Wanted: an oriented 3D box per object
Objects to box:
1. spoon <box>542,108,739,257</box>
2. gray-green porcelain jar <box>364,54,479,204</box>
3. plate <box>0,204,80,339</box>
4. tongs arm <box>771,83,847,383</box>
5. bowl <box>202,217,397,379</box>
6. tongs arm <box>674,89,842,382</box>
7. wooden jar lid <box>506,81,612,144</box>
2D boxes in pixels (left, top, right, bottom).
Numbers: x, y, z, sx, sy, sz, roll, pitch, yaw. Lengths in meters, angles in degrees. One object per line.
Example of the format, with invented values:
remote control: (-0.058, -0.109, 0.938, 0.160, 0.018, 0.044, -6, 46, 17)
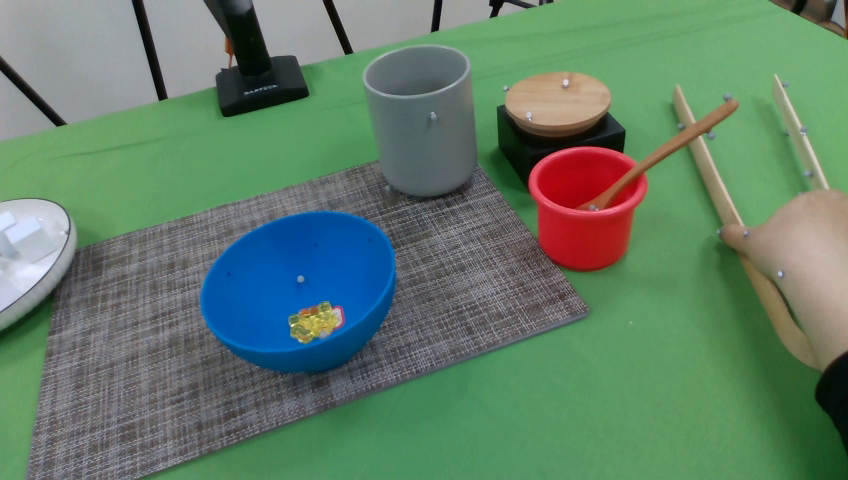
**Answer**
spoon: (0.178, -0.045, 0.515, 0.194, 0.022, 0.041, -43, 32, 30)
gray-green porcelain jar: (0.001, -0.109, 0.623, 0.106, 0.128, 0.105, -5, 42, 5)
plate: (-0.443, 0.043, 0.598, 0.209, 0.038, 0.207, -5, 42, 5)
tongs arm: (0.347, -0.037, 0.559, 0.050, 0.027, 0.381, 1, 44, 11)
bowl: (-0.090, 0.059, 0.489, 0.151, 0.077, 0.150, -5, 42, 5)
tongs arm: (0.289, -0.036, 0.570, 0.028, 0.028, 0.384, -1, 43, 4)
wooden jar lid: (0.141, -0.133, 0.637, 0.108, 0.021, 0.107, -5, 42, 5)
